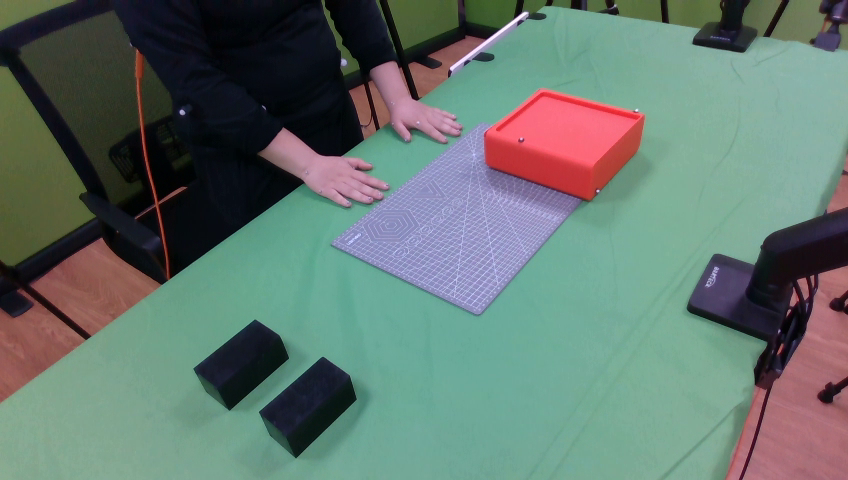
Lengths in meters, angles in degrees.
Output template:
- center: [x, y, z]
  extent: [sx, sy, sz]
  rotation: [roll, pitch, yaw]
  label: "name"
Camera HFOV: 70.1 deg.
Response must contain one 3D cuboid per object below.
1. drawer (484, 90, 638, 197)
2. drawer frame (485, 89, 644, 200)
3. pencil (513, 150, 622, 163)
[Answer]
- center: [0.247, -0.180, 1.097]
  extent: [0.210, 0.073, 0.195]
  rotation: [25, 49, 31]
  label: "drawer"
- center: [0.253, -0.180, 1.094]
  extent: [0.212, 0.083, 0.202]
  rotation: [24, 48, 31]
  label: "drawer frame"
- center: [0.260, -0.150, 1.099]
  extent: [0.194, 0.012, 0.012]
  rotation: [-4, 40, 7]
  label: "pencil"
